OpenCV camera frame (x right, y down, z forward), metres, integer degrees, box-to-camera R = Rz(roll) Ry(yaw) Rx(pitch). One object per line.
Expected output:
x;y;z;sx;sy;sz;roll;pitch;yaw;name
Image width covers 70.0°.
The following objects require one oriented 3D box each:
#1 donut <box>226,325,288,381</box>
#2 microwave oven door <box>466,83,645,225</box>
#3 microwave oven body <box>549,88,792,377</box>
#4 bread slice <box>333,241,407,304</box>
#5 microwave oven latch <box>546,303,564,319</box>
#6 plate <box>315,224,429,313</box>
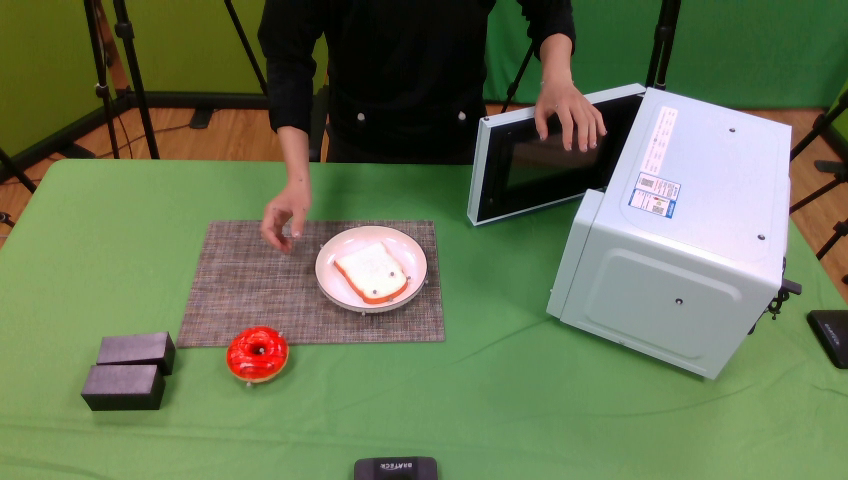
-0.270;0.182;0.984;0.099;0.048;0.098;5;49;-5;donut
0.259;-0.171;1.205;0.356;0.245;0.039;-16;50;-18;microwave oven door
0.456;-0.028;1.088;0.325;0.261;0.440;20;47;16;microwave oven body
-0.092;0.060;1.117;0.105;0.019;0.130;-24;52;-24;bread slice
0.242;0.102;1.081;0.030;0.029;0.079;21;48;17;microwave oven latch
-0.096;0.055;1.121;0.208;0.039;0.206;2;46;-2;plate
